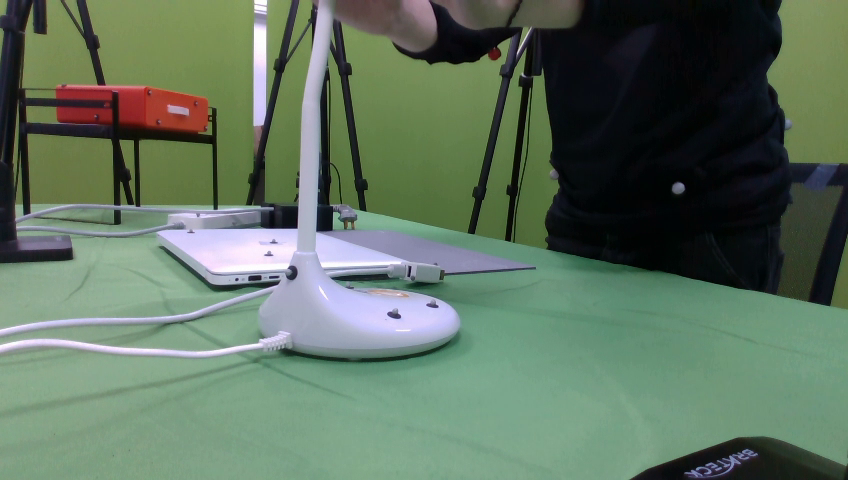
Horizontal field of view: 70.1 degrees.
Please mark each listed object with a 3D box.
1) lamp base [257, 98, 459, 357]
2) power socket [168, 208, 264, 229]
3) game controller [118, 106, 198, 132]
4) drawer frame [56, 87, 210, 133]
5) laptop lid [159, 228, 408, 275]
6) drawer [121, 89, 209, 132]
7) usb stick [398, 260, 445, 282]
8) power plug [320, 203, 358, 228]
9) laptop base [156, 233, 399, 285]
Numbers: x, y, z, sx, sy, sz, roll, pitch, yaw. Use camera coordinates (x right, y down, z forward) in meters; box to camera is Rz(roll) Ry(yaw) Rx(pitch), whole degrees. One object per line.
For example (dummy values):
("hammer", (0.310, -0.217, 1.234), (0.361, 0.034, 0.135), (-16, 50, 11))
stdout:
("lamp base", (-0.055, -0.014, 0.463), (0.160, 0.180, 0.180), (6, 11, 27))
("power socket", (-0.381, -0.038, 1.128), (0.072, 0.032, 0.227), (4, 8, 16))
("game controller", (-0.554, -0.252, 1.255), (0.097, 0.051, 0.155), (7, 11, 19))
("drawer frame", (-0.598, -0.269, 1.261), (0.213, 0.082, 0.202), (4, 8, 14))
("laptop lid", (-0.201, 0.007, 0.806), (0.243, 0.013, 0.355), (-1, 8, -31))
("drawer", (-0.595, -0.268, 1.263), (0.211, 0.073, 0.195), (4, 8, 15))
("usb stick", (-0.001, 0.036, 0.696), (0.027, 0.021, 0.059), (8, 1, 43))
("power plug", (-0.169, -0.046, 1.209), (0.073, 0.052, 0.035), (-6, -16, -7))
("laptop base", (-0.204, 0.019, 0.806), (0.237, 0.023, 0.352), (0, 7, -33))
